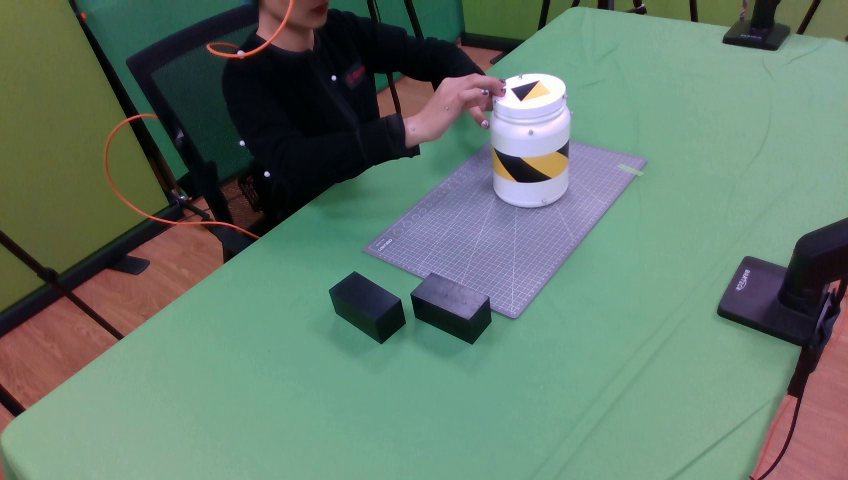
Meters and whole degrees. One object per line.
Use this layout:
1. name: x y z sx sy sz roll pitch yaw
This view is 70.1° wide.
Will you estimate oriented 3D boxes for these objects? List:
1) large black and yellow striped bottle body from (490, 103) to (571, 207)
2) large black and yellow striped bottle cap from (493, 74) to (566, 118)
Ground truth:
1. large black and yellow striped bottle body: 0.178 -0.162 1.009 0.131 0.185 0.130 -5 40 5
2. large black and yellow striped bottle cap: 0.166 -0.229 0.954 0.115 0.019 0.114 -5 41 5
